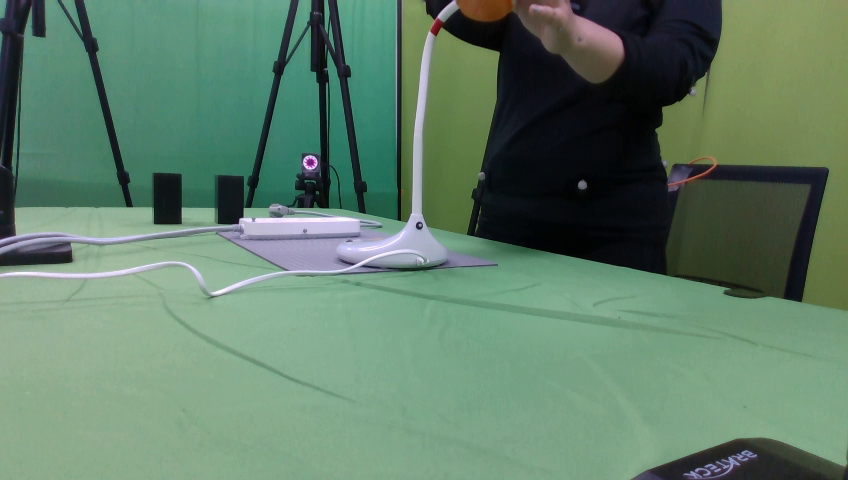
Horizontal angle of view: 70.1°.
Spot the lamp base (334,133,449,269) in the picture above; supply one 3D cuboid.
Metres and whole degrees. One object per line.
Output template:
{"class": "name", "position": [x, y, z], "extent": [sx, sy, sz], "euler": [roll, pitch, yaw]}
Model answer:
{"class": "lamp base", "position": [-0.034, -0.057, 0.831], "extent": [0.161, 0.180, 0.178], "euler": [-3, 11, -36]}

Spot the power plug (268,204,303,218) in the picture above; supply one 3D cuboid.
{"class": "power plug", "position": [-0.327, -0.060, 1.404], "extent": [0.073, 0.035, 0.052], "euler": [22, -14, -26]}

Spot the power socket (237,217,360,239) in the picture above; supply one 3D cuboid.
{"class": "power socket", "position": [-0.221, -0.023, 1.080], "extent": [0.228, 0.032, 0.072], "euler": [-2, 8, -33]}

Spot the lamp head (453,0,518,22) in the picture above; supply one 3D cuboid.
{"class": "lamp head", "position": [0.071, -0.319, 0.706], "extent": [0.112, 0.122, 0.112], "euler": [7, -3, 1]}
